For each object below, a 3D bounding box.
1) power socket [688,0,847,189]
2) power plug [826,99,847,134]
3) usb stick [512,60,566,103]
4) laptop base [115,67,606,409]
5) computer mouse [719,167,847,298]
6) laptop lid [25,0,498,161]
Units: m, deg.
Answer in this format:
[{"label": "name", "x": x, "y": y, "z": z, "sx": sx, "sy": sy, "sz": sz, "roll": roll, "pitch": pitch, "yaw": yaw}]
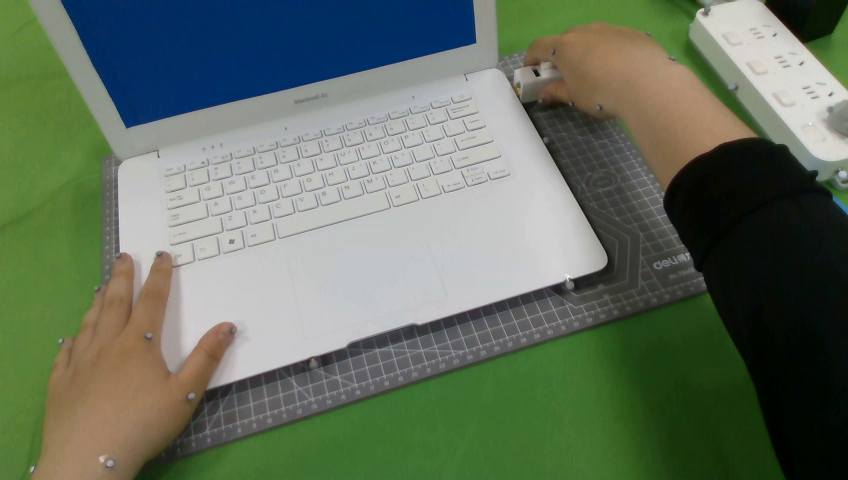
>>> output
[{"label": "power socket", "x": 0.314, "y": -0.140, "z": 0.536, "sx": 0.072, "sy": 0.033, "sz": 0.224, "roll": -13, "pitch": 55, "yaw": -5}, {"label": "power plug", "x": 0.359, "y": -0.100, "z": 0.480, "sx": 0.072, "sy": 0.053, "sz": 0.035, "roll": -4, "pitch": 57, "yaw": 1}, {"label": "usb stick", "x": 0.096, "y": -0.142, "z": 0.546, "sx": 0.059, "sy": 0.027, "sz": 0.021, "roll": -14, "pitch": 56, "yaw": -2}, {"label": "laptop base", "x": -0.064, "y": -0.021, "z": 0.489, "sx": 0.355, "sy": 0.023, "sz": 0.233, "roll": -16, "pitch": 59, "yaw": -8}, {"label": "computer mouse", "x": 0.275, "y": -0.013, "z": 0.447, "sx": 0.063, "sy": 0.041, "sz": 0.116, "roll": -16, "pitch": 51, "yaw": -5}, {"label": "laptop lid", "x": -0.113, "y": -0.198, "z": 0.474, "sx": 0.357, "sy": 0.244, "sz": 0.013, "roll": -17, "pitch": 43, "yaw": -6}]
